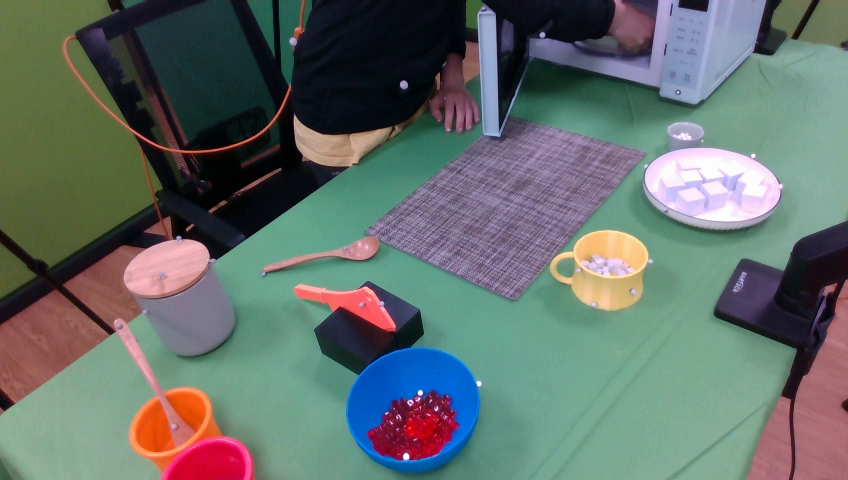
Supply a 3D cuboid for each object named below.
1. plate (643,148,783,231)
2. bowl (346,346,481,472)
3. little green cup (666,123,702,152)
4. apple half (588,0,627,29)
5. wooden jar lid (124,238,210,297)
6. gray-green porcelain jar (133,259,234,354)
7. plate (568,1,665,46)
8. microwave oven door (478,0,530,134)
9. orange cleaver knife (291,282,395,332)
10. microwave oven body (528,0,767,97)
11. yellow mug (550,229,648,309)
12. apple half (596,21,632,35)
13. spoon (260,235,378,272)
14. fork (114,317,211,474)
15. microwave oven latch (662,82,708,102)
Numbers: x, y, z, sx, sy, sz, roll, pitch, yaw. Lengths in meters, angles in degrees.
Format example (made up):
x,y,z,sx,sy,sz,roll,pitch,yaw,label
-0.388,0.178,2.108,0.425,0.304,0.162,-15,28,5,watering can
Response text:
x,y,z,sx,sy,sz,roll,pitch,yaw,label
0.465,-0.080,0.986,0.207,0.039,0.206,-4,40,4,plate
-0.008,0.205,0.691,0.151,0.077,0.150,-4,40,4,bowl
0.472,-0.183,1.103,0.061,0.039,0.061,-5,39,5,little green cup
0.415,-0.523,1.374,0.081,0.054,0.074,-40,42,-19,apple half
-0.335,0.039,0.794,0.108,0.021,0.108,-2,40,2,wooden jar lid
-0.328,0.087,0.836,0.106,0.127,0.105,-4,41,4,gray-green porcelain jar
0.431,-0.486,1.366,0.209,0.038,0.208,-3,40,3,plate
0.169,-0.412,1.230,0.039,0.245,0.355,7,43,16,microwave oven door
-0.116,0.091,0.835,0.209,0.077,0.012,1,32,47,orange cleaver knife
0.473,-0.516,1.313,0.438,0.261,0.327,26,51,34,microwave oven body
0.245,0.040,0.856,0.130,0.064,0.099,1,42,11,yellow mug
0.416,-0.462,1.323,0.081,0.033,0.081,-1,38,1,apple half
-0.168,0.024,0.966,0.194,0.022,0.041,-10,57,-3,spoon
-0.309,0.180,0.708,0.028,0.018,0.207,-29,89,-25,fork
0.518,-0.298,1.202,0.078,0.029,0.030,28,53,35,microwave oven latch
